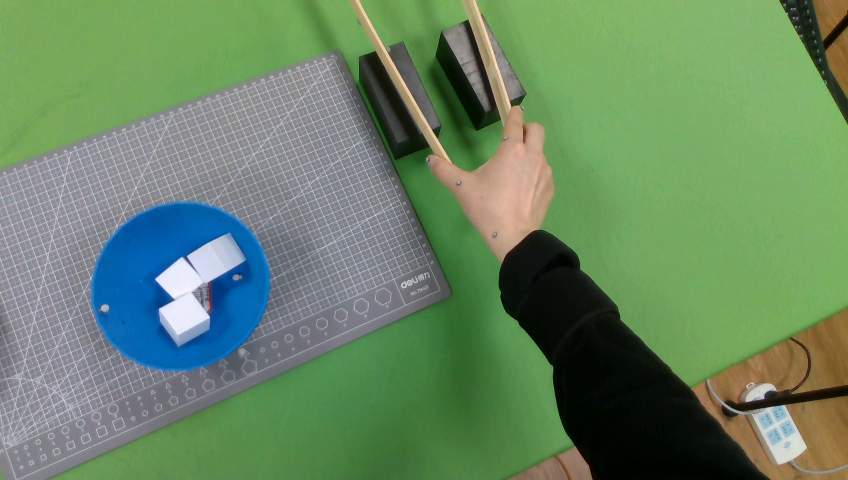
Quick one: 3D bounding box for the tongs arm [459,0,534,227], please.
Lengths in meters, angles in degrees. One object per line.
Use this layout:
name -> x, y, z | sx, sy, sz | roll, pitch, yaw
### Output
tongs arm -> 0.051, -0.198, 0.622 | 0.028, 0.028, 0.385 | -13, 79, -16

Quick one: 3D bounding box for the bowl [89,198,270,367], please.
bowl -> -0.217, 0.043, 0.566 | 0.152, 0.077, 0.150 | 1, 79, -7

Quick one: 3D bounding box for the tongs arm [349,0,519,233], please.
tongs arm -> -0.015, -0.173, 0.608 | 0.051, 0.026, 0.383 | -24, 81, -14
